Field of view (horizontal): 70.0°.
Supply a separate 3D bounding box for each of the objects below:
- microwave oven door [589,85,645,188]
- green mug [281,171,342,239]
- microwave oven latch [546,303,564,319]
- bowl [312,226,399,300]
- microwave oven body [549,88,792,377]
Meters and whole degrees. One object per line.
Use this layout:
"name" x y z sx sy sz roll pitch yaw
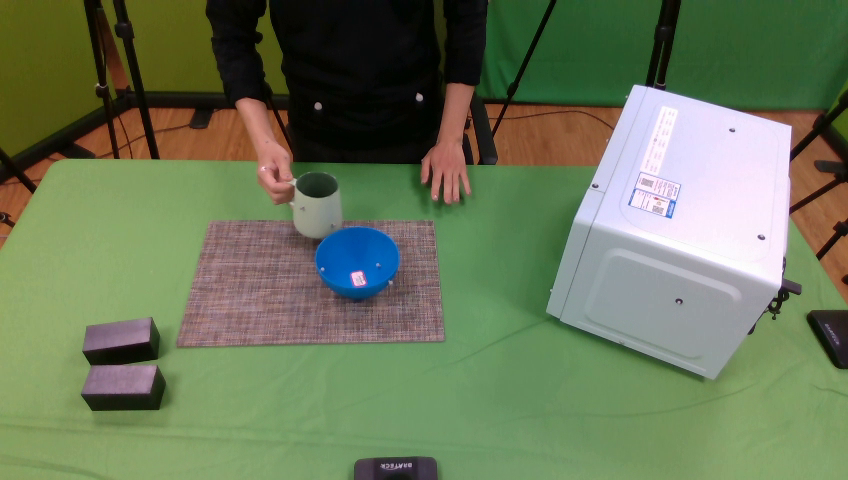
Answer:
"microwave oven door" 0.342 -0.107 1.149 0.039 0.245 0.354 20 48 15
"green mug" -0.214 -0.071 1.134 0.125 0.105 0.092 24 47 15
"microwave oven latch" 0.242 0.102 1.081 0.030 0.029 0.079 22 48 17
"bowl" -0.120 0.054 1.091 0.151 0.077 0.150 2 46 -2
"microwave oven body" 0.456 -0.028 1.088 0.325 0.261 0.440 20 47 16
